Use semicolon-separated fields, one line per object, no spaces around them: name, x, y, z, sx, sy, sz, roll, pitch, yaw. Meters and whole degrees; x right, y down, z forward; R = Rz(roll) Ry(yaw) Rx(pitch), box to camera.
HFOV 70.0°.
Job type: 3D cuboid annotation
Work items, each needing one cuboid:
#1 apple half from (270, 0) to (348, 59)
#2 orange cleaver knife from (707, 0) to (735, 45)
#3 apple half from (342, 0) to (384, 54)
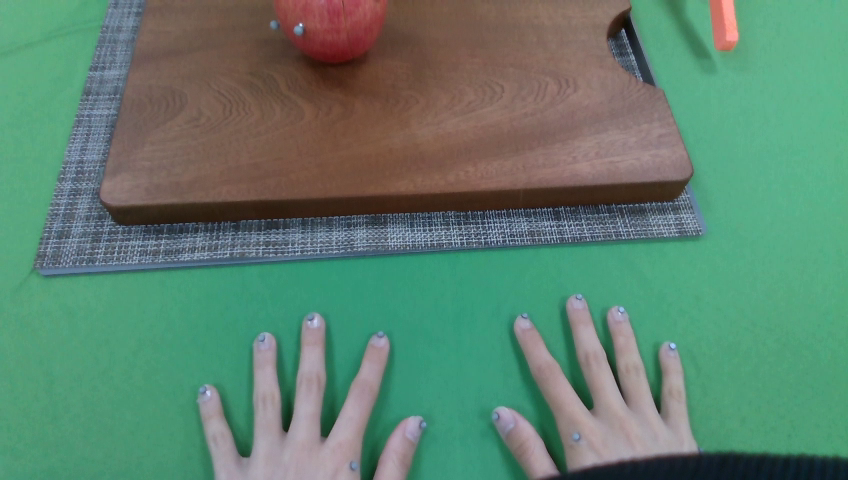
apple half;-0.084;-0.175;0.440;0.053;0.075;0.080;-5;64;-1
orange cleaver knife;0.246;-0.264;0.536;0.012;0.077;0.210;0;82;-5
apple half;-0.044;-0.178;0.442;0.033;0.082;0.080;-6;59;-2
